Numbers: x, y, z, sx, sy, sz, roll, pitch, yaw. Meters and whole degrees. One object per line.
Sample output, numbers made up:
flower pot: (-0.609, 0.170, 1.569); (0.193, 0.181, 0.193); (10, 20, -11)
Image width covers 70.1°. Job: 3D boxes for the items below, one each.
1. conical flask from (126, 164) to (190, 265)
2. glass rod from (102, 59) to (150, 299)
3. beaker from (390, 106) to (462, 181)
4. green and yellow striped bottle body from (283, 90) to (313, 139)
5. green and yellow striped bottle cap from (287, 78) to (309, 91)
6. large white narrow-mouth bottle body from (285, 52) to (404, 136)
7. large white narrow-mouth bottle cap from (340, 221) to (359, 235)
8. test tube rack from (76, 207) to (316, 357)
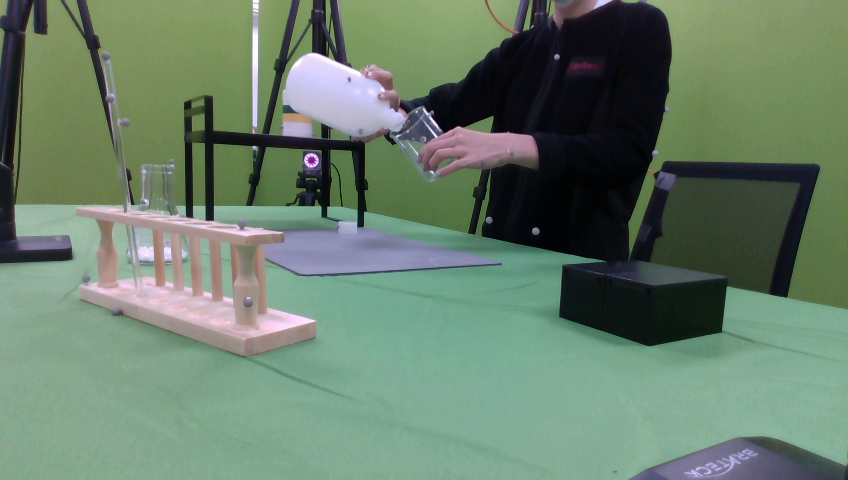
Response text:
conical flask: (-0.332, -0.033, 0.756); (0.075, 0.122, 0.075); (2, 8, 0)
glass rod: (-0.243, -0.045, 0.496); (0.008, 0.199, 0.008); (-4, 12, 1)
beaker: (0.005, -0.150, 0.954); (0.074, 0.100, 0.084); (-40, -6, 14)
green and yellow striped bottle body: (-0.266, -0.275, 1.275); (0.063, 0.119, 0.063); (2, 7, 0)
green and yellow striped bottle cap: (-0.265, -0.326, 1.268); (0.045, 0.020, 0.045); (4, 6, 0)
large white narrow-mouth bottle body: (-0.121, -0.226, 0.982); (0.194, 0.101, 0.102); (28, 15, 14)
large white narrow-mouth bottle cap: (-0.139, -0.023, 1.127); (0.038, 0.024, 0.037); (4, 8, 0)
test tube rack: (-0.196, 0.023, 0.500); (0.241, 0.085, 0.067); (8, 9, 36)
